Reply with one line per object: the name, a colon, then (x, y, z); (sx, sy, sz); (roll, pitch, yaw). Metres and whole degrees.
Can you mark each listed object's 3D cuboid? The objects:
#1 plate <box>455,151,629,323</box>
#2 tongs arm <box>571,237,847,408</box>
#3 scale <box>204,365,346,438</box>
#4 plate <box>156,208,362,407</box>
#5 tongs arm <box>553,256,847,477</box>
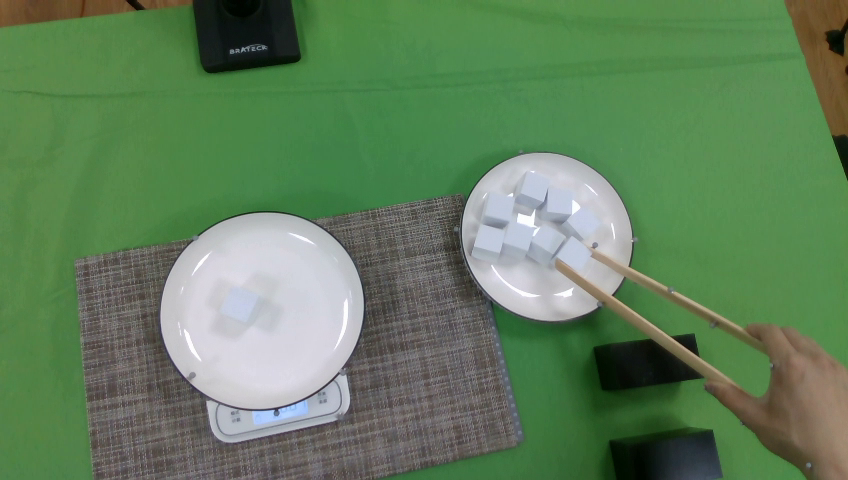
plate: (0.137, -0.003, 0.724); (0.208, 0.039, 0.206); (1, 77, -5)
tongs arm: (0.292, 0.104, 0.587); (0.381, 0.027, 0.050); (32, 71, 32)
scale: (-0.172, 0.105, 0.666); (0.149, 0.031, 0.200); (-10, 79, -8)
plate: (-0.170, 0.069, 0.641); (0.209, 0.038, 0.208); (2, 77, -6)
tongs arm: (0.276, 0.120, 0.582); (0.028, 0.028, 0.383); (-42, 55, -16)
